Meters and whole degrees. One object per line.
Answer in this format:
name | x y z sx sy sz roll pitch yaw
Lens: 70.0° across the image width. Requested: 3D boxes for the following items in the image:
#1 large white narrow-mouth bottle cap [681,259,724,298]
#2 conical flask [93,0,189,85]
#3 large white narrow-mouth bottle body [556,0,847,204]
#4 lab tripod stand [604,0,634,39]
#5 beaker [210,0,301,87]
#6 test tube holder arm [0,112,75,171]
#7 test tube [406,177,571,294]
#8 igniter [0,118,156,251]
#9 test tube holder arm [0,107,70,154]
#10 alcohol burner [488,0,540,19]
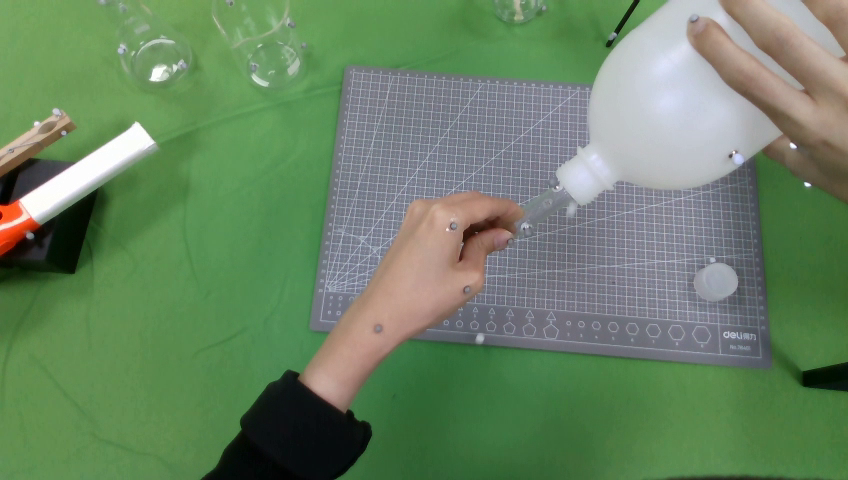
large white narrow-mouth bottle cap | 0.277 0.038 0.601 0.038 0.024 0.037 0 74 0
conical flask | -0.297 -0.221 0.617 0.075 0.122 0.075 0 72 0
large white narrow-mouth bottle body | 0.160 -0.093 0.352 0.195 0.102 0.101 -41 75 19
lab tripod stand | 0.272 -0.282 0.642 0.148 0.132 0.147 1 72 -2
beaker | -0.171 -0.211 0.630 0.074 0.101 0.083 19 74 6
test tube holder arm | -0.379 -0.092 0.581 0.088 0.015 0.010 -38 77 -12
test tube | 0.042 0.001 0.431 0.150 0.017 0.017 -35 71 30
igniter | -0.375 -0.023 0.556 0.276 0.025 0.057 -39 79 -15
test tube holder arm | -0.417 -0.069 0.572 0.178 0.015 0.013 -39 77 -13
alcohol burner | 0.103 -0.298 0.655 0.078 0.120 0.077 1 71 -2
